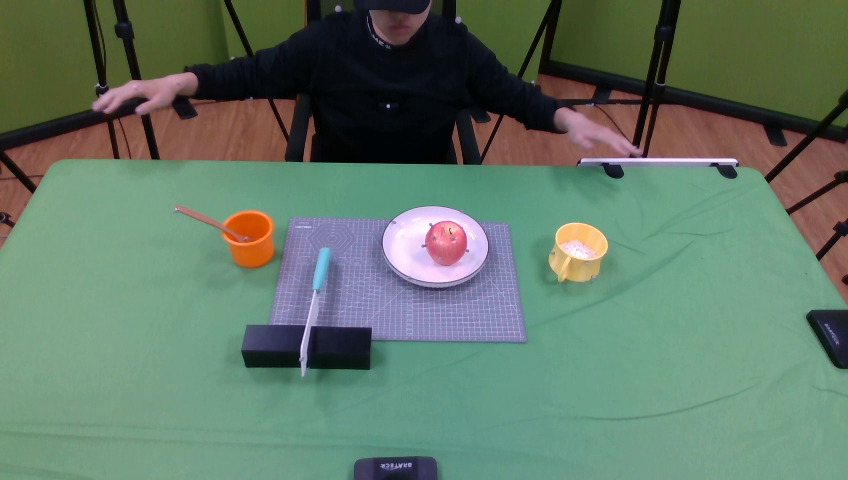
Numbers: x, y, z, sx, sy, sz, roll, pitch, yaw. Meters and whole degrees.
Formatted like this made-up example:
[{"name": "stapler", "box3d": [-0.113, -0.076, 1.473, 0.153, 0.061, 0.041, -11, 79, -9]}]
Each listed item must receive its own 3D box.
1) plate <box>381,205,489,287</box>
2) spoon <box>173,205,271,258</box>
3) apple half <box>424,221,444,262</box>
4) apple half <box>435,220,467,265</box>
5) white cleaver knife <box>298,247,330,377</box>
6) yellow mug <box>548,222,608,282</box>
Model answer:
[{"name": "plate", "box3d": [0.021, 0.015, 1.170, 0.209, 0.038, 0.208, 2, 46, -2]}, {"name": "spoon", "box3d": [-0.362, -0.017, 1.098, 0.021, 0.195, 0.041, -32, 42, 27]}, {"name": "apple half", "box3d": [0.016, 0.002, 1.144, 0.033, 0.081, 0.081, 14, 46, 3]}, {"name": "apple half", "box3d": [0.054, 0.009, 1.142, 0.053, 0.075, 0.080, 14, 43, 4]}, {"name": "white cleaver knife", "box3d": [-0.191, 0.111, 1.037, 0.021, 0.066, 0.285, 5, 36, -2]}, {"name": "yellow mug", "box3d": [0.287, 0.031, 1.159, 0.099, 0.064, 0.130, 27, 51, 21]}]
